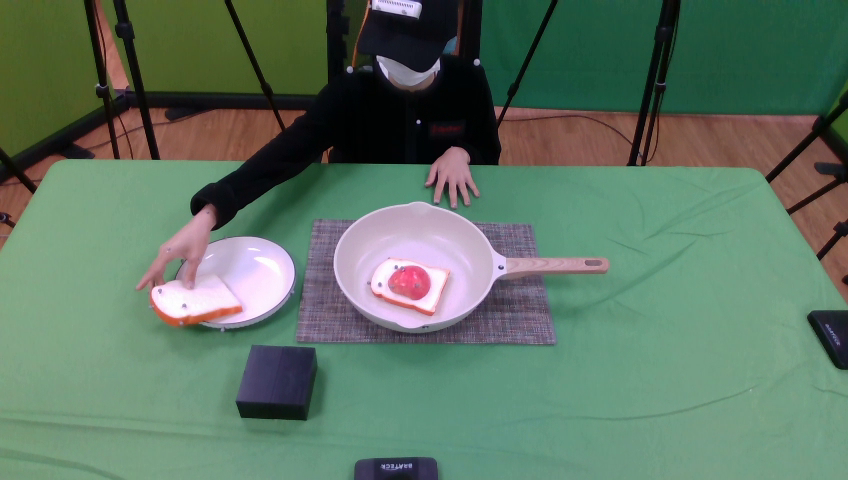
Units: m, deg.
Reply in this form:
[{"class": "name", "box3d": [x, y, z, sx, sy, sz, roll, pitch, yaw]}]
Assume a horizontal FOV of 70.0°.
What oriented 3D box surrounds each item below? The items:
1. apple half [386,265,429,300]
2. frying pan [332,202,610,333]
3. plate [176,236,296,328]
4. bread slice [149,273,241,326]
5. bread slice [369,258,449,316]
[{"class": "apple half", "box3d": [-0.027, 0.068, 1.090, 0.081, 0.033, 0.081, 4, 48, -4]}, {"class": "frying pan", "box3d": [0.085, 0.052, 1.093, 0.488, 0.103, 0.305, -1, 46, 6]}, {"class": "plate", "box3d": [-0.334, 0.077, 1.087, 0.208, 0.039, 0.206, 2, 46, -2]}, {"class": "bread slice", "box3d": [-0.392, 0.101, 1.029, 0.132, 0.019, 0.104, -12, 44, -47]}, {"class": "bread slice", "box3d": [-0.032, 0.083, 1.107, 0.134, 0.018, 0.106, 13, 45, 8]}]
